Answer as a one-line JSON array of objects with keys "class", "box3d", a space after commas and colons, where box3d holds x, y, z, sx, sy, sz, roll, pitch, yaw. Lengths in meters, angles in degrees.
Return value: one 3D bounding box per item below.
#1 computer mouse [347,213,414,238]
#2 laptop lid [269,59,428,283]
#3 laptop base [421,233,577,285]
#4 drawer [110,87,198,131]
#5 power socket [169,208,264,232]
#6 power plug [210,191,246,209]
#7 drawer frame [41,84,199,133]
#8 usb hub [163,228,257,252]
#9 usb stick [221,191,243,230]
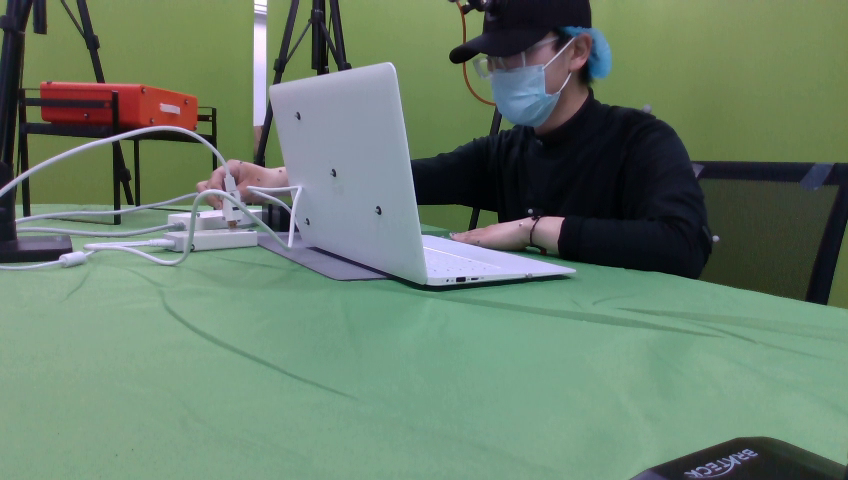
[{"class": "computer mouse", "box3d": [-0.079, -0.025, 1.080, 0.117, 0.041, 0.062, -5, 12, -18]}, {"class": "laptop lid", "box3d": [-0.110, -0.087, 0.752, 0.013, 0.241, 0.355, -18, 19, -30]}, {"class": "laptop base", "box3d": [0.007, 0.022, 0.850, 0.237, 0.023, 0.352, 1, 7, -34]}, {"class": "drawer", "box3d": [-0.602, -0.263, 1.225, 0.211, 0.073, 0.195, 3, 8, 10]}, {"class": "power socket", "box3d": [-0.381, -0.038, 1.128, 0.072, 0.032, 0.227, 4, 8, 17]}, {"class": "power plug", "box3d": [-0.386, -0.071, 1.203, 0.072, 0.052, 0.035, 8, 10, 25]}, {"class": "drawer frame", "box3d": [-0.604, -0.264, 1.225, 0.213, 0.082, 0.202, 3, 8, 8]}, {"class": "usb hub", "box3d": [-0.314, -0.001, 0.895, 0.049, 0.025, 0.126, 10, 11, 41]}, {"class": "usb stick", "box3d": [-0.292, -0.044, 0.921, 0.027, 0.059, 0.021, 3, 10, 40]}]
